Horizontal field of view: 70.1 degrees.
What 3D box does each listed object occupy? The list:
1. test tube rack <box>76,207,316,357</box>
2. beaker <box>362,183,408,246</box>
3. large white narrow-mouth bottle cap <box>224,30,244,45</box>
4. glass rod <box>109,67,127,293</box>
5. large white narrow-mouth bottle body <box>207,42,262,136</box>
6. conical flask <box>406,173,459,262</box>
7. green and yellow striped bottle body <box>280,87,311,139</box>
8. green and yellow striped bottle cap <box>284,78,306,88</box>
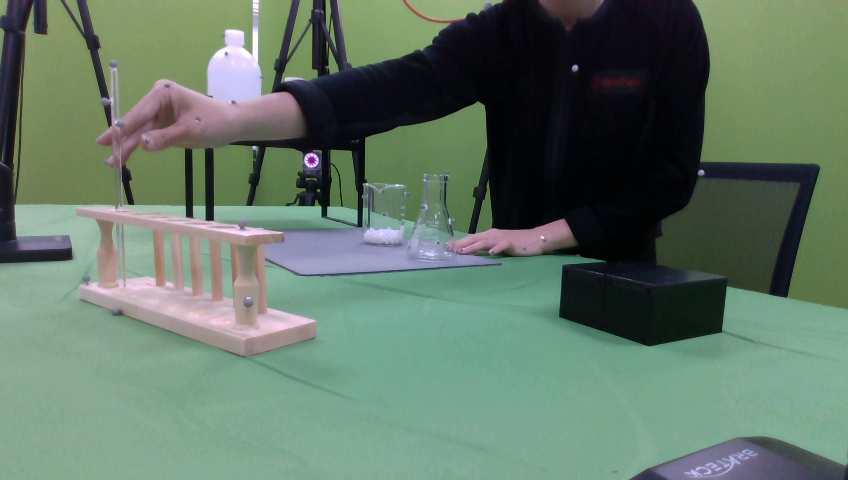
[{"bbox_3d":[-0.196,0.023,0.500,0.241,0.085,0.067,8,9,36],"label":"test tube rack"},{"bbox_3d":[-0.066,-0.042,0.996,0.074,0.100,0.084,3,8,6],"label":"beaker"},{"bbox_3d":[-0.365,-0.389,1.166,0.038,0.024,0.037,3,9,0],"label":"large white narrow-mouth bottle cap"},{"bbox_3d":[-0.267,-0.050,0.527,0.008,0.199,0.008,-1,3,0],"label":"glass rod"},{"bbox_3d":[-0.369,-0.303,1.180,0.102,0.194,0.102,2,9,0],"label":"large white narrow-mouth bottle body"},{"bbox_3d":[0.014,-0.033,0.851,0.075,0.122,0.075,2,7,0],"label":"conical flask"},{"bbox_3d":[-0.269,-0.274,1.266,0.063,0.119,0.063,3,7,0],"label":"green and yellow striped bottle body"},{"bbox_3d":[-0.268,-0.325,1.259,0.045,0.020,0.045,5,7,0],"label":"green and yellow striped bottle cap"}]
